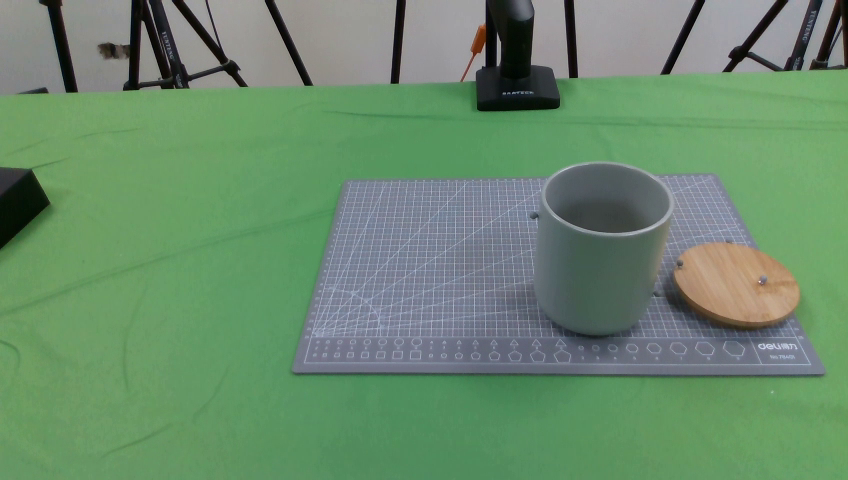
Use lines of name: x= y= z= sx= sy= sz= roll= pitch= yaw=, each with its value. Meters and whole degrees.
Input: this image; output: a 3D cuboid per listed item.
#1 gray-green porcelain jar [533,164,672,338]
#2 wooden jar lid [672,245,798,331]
gray-green porcelain jar: x=0.150 y=0.014 z=0.531 sx=0.106 sy=0.127 sz=0.105 roll=-2 pitch=40 yaw=2
wooden jar lid: x=0.288 y=0.045 z=0.567 sx=0.108 sy=0.021 sz=0.107 roll=-2 pitch=39 yaw=2
